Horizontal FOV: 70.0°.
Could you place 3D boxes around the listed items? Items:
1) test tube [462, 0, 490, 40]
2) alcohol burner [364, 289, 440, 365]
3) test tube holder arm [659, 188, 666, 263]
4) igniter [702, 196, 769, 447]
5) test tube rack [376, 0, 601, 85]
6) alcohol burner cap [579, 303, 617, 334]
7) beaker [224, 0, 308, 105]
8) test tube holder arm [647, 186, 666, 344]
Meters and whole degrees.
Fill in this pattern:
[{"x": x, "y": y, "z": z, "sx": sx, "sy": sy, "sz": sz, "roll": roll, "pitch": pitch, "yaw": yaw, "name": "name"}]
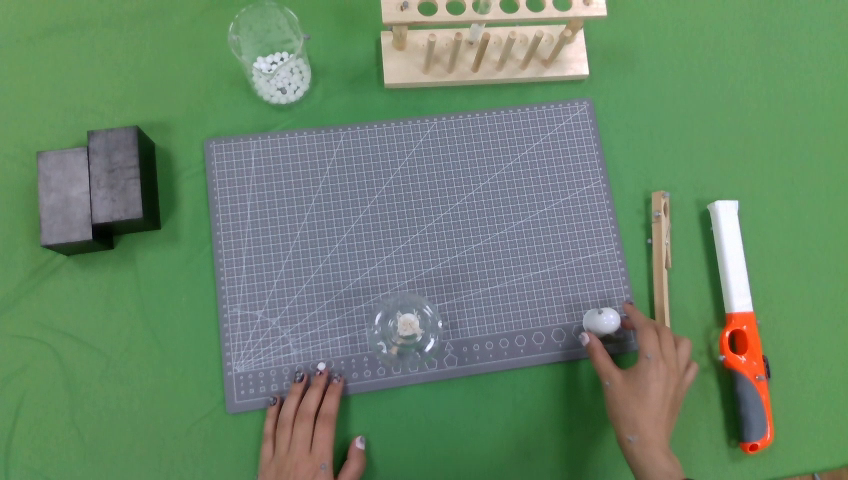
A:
[{"x": 0.061, "y": -0.252, "z": 0.637, "sx": 0.017, "sy": 0.150, "sz": 0.017, "roll": 1, "pitch": 80, "yaw": -7, "name": "test tube"}, {"x": -0.021, "y": 0.084, "z": 0.599, "sx": 0.078, "sy": 0.119, "sz": 0.077, "roll": 1, "pitch": 77, "yaw": -5, "name": "alcohol burner"}, {"x": 0.269, "y": -0.016, "z": 0.694, "sx": 0.010, "sy": 0.015, "sz": 0.087, "roll": 12, "pitch": 76, "yaw": -37, "name": "test tube holder arm"}, {"x": 0.346, "y": 0.086, "z": 0.675, "sx": 0.057, "sy": 0.025, "sz": 0.275, "roll": -1, "pitch": 79, "yaw": -14, "name": "igniter"}, {"x": 0.069, "y": -0.230, "z": 0.685, "sx": 0.243, "sy": 0.085, "sz": 0.066, "roll": -4, "pitch": 79, "yaw": -5, "name": "test tube rack"}, {"x": 0.189, "y": 0.084, "z": 0.653, "sx": 0.034, "sy": 0.048, "sz": 0.033, "roll": 1, "pitch": 78, "yaw": -4, "name": "alcohol burner cap"}, {"x": -0.165, "y": -0.194, "z": 0.652, "sx": 0.074, "sy": 0.100, "sz": 0.083, "roll": -5, "pitch": 80, "yaw": -5, "name": "beaker"}, {"x": 0.262, "y": 0.027, "z": 0.683, "sx": 0.013, "sy": 0.015, "sz": 0.177, "roll": 10, "pitch": 78, "yaw": -37, "name": "test tube holder arm"}]
